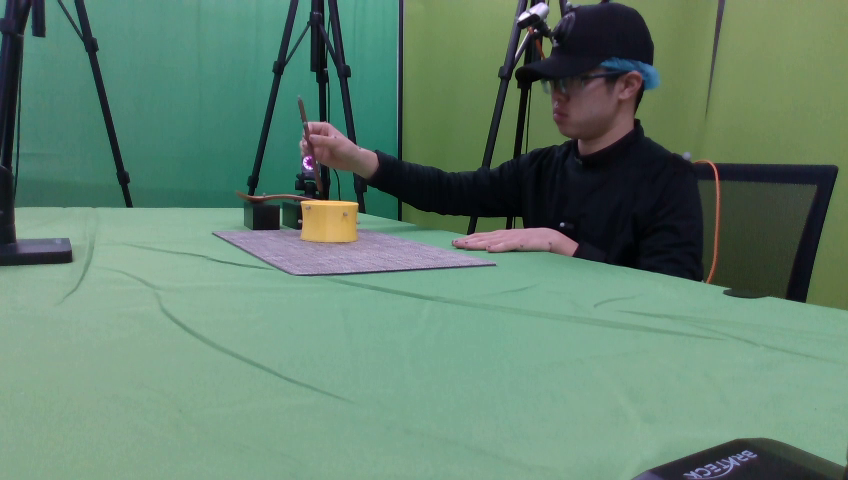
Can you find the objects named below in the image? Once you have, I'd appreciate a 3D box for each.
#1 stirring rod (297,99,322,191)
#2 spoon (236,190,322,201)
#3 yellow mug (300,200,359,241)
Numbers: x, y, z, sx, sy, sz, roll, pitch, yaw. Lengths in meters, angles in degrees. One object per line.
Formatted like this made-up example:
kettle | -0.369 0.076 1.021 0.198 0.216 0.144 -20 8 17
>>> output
stirring rod | -0.218 -0.181 1.152 0.006 0.176 0.014 -10 7 17
spoon | -0.290 -0.088 1.248 0.195 0.021 0.041 0 6 -32
yellow mug | -0.156 -0.036 1.060 0.099 0.064 0.131 6 7 27
